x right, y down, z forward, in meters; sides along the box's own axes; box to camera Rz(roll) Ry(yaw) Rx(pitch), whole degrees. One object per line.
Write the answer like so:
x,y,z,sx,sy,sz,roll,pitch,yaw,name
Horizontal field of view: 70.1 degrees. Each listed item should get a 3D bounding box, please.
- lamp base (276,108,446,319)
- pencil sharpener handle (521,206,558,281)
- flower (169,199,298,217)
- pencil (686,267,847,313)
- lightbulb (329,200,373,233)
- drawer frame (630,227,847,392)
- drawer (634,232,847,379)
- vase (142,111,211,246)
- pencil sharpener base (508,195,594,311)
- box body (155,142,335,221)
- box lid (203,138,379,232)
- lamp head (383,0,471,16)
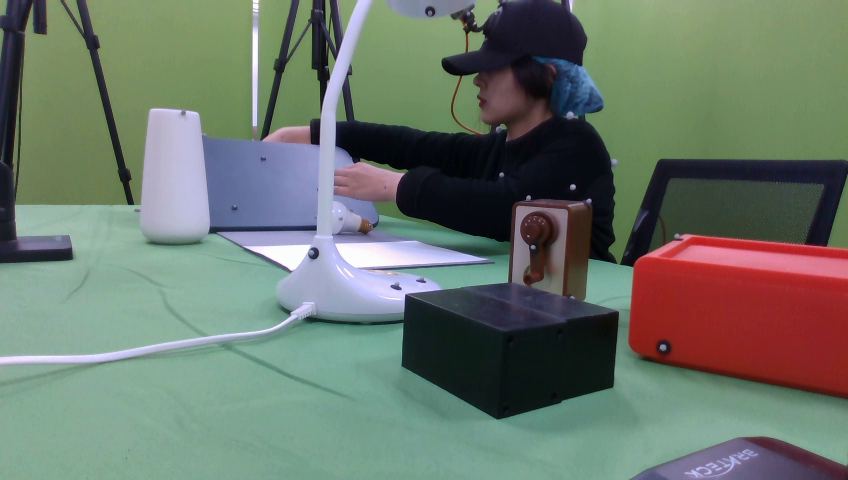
-0.061,-0.027,0.556,0.160,0.180,0.180,4,10,20,lamp base
0.101,0.003,0.555,0.036,0.067,0.031,0,5,31,pencil sharpener handle
-0.422,-0.068,1.398,0.044,0.038,0.363,6,3,32,flower
0.308,0.044,0.515,0.194,0.012,0.012,13,5,-12,pencil
-0.143,-0.036,1.109,0.108,0.059,0.059,15,1,-28,lightbulb
0.292,0.043,0.484,0.201,0.082,0.214,7,9,29,drawer frame
0.292,0.045,0.488,0.193,0.073,0.213,7,9,30,drawer
-0.378,-0.093,0.920,0.098,0.200,0.098,2,9,0,vase
0.126,0.011,0.601,0.061,0.107,0.077,7,9,30,pencil sharpener base
-0.411,-0.135,1.386,0.366,0.160,0.253,-2,9,-29,box body
-0.286,-0.112,1.202,0.373,0.015,0.262,-2,46,-30,box lid
-0.001,-0.301,0.599,0.112,0.112,0.123,4,-30,14,lamp head
